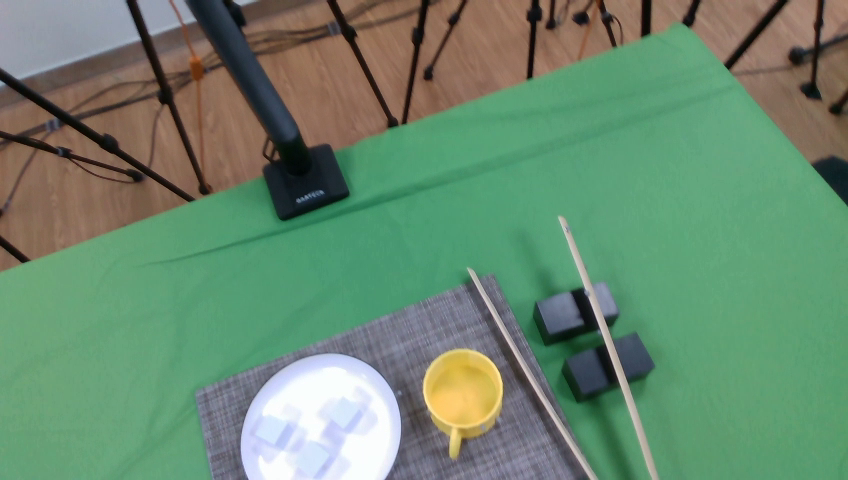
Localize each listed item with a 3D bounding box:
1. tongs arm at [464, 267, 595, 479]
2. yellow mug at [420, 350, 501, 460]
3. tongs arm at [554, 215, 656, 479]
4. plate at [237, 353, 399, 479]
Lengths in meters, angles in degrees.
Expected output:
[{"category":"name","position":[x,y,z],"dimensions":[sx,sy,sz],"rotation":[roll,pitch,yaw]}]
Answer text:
[{"category":"tongs arm","position":[0.151,0.186,0.793],"dimensions":[0.028,0.028,0.383],"rotation":[-36,62,10]},{"category":"yellow mug","position":[0.045,0.212,0.770],"dimensions":[0.100,0.064,0.130],"rotation":[7,63,8]},{"category":"tongs arm","position":[0.217,0.146,0.766],"dimensions":[0.051,0.027,0.381],"rotation":[-25,66,20]},{"category":"plate","position":[-0.134,0.250,0.782],"dimensions":[0.207,0.039,0.206],"rotation":[-2,62,4]}]
